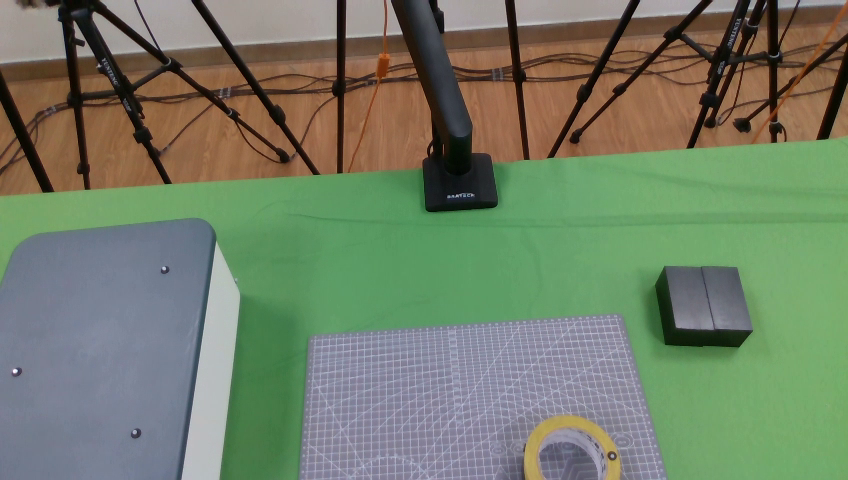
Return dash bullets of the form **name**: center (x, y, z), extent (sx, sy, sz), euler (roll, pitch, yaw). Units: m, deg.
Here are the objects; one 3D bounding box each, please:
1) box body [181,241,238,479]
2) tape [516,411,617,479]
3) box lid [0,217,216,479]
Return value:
- **box body**: center (-0.385, 0.173, 0.754), extent (0.254, 0.162, 0.360), euler (-5, 55, -1)
- **tape**: center (0.171, 0.267, 0.726), extent (0.117, 0.053, 0.115), euler (-2, 55, 3)
- **box lid**: center (-0.387, 0.128, 0.694), extent (0.263, 0.015, 0.367), euler (-5, 56, -1)
